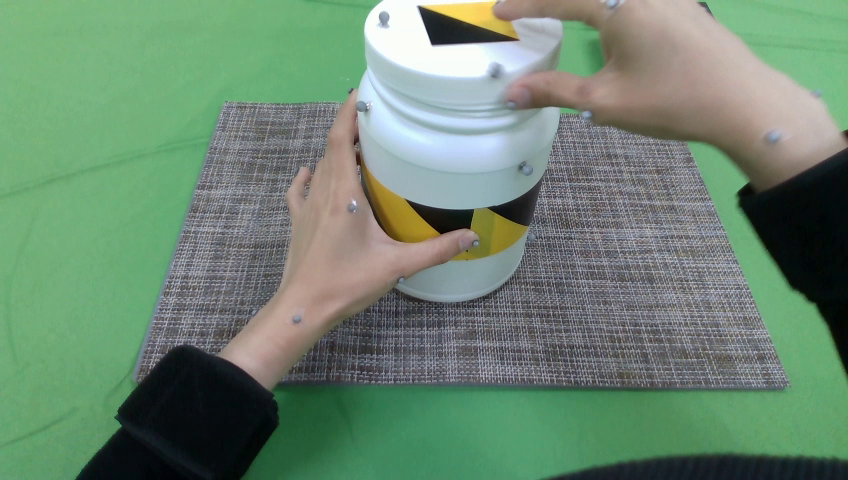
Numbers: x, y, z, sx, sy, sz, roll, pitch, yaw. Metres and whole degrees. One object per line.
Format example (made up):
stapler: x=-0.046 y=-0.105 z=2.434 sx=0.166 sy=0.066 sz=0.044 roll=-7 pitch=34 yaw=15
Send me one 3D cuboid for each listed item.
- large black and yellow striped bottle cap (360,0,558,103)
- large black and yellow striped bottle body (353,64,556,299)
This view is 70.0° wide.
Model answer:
large black and yellow striped bottle cap: x=0.020 y=-0.119 z=0.354 sx=0.115 sy=0.019 sz=0.114 roll=2 pitch=47 yaw=-1
large black and yellow striped bottle body: x=0.018 y=-0.060 z=0.422 sx=0.131 sy=0.185 sz=0.129 roll=2 pitch=50 yaw=-2
